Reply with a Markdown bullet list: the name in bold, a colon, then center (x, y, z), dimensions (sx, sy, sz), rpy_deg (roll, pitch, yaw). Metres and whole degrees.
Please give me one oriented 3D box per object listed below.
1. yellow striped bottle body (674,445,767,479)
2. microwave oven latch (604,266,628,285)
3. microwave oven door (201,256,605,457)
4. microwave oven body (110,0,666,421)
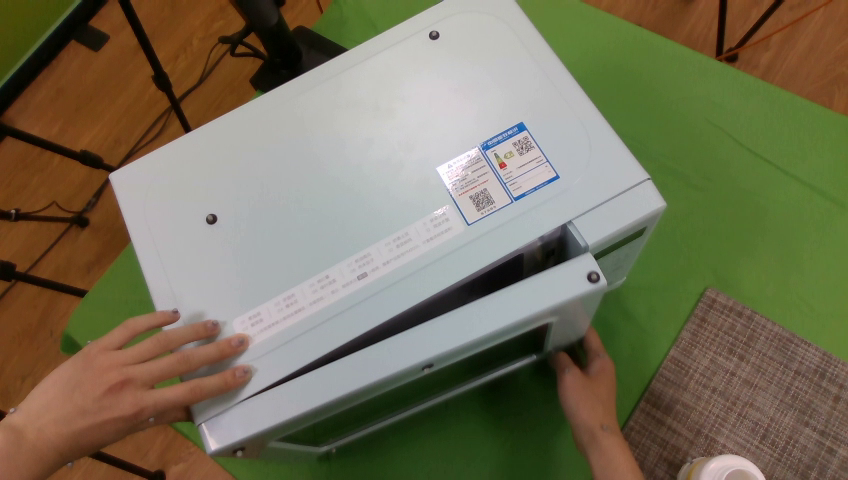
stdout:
- **yellow striped bottle body**: center (0.295, 0.238, 0.602), dimensions (0.063, 0.121, 0.062), rpy_deg (-3, 69, 8)
- **microwave oven latch**: center (0.199, 0.044, 0.716), dimensions (0.079, 0.030, 0.030), rpy_deg (-24, 69, 0)
- **microwave oven door**: center (-0.002, 0.129, 0.604), dimensions (0.356, 0.246, 0.039), rpy_deg (-23, 67, -1)
- **microwave oven body**: center (-0.039, -0.023, 0.669), dimensions (0.442, 0.262, 0.323), rpy_deg (-29, 69, -2)
